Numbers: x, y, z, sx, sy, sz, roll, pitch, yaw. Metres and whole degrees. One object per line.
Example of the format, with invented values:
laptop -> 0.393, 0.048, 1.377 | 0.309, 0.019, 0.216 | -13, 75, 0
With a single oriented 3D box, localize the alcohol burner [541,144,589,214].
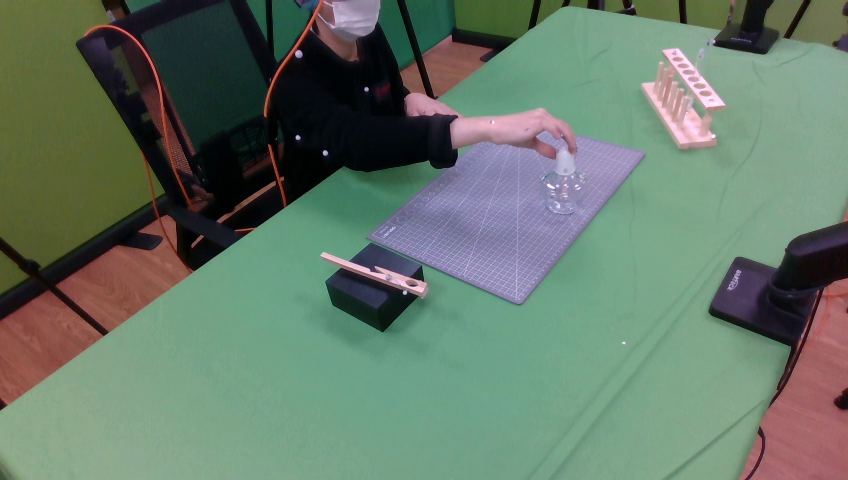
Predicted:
alcohol burner -> 0.229, -0.102, 0.983 | 0.078, 0.119, 0.077 | -6, 40, 5

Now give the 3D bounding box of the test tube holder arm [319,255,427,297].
test tube holder arm -> -0.075, 0.049, 0.855 | 0.177, 0.015, 0.013 | 14, 52, 25

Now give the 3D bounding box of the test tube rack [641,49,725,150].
test tube rack -> 0.495, -0.279, 1.175 | 0.067, 0.085, 0.241 | -5, 41, 3

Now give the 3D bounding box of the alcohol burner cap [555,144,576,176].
alcohol burner cap -> 0.224, -0.129, 0.958 | 0.034, 0.048, 0.033 | -6, 44, 6

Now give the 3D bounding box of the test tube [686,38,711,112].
test tube -> 0.508, -0.305, 1.128 | 0.017, 0.151, 0.017 | -2, 46, 3

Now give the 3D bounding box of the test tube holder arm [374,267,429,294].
test tube holder arm -> -0.033, 0.056, 0.839 | 0.087, 0.015, 0.010 | 15, 52, 25
